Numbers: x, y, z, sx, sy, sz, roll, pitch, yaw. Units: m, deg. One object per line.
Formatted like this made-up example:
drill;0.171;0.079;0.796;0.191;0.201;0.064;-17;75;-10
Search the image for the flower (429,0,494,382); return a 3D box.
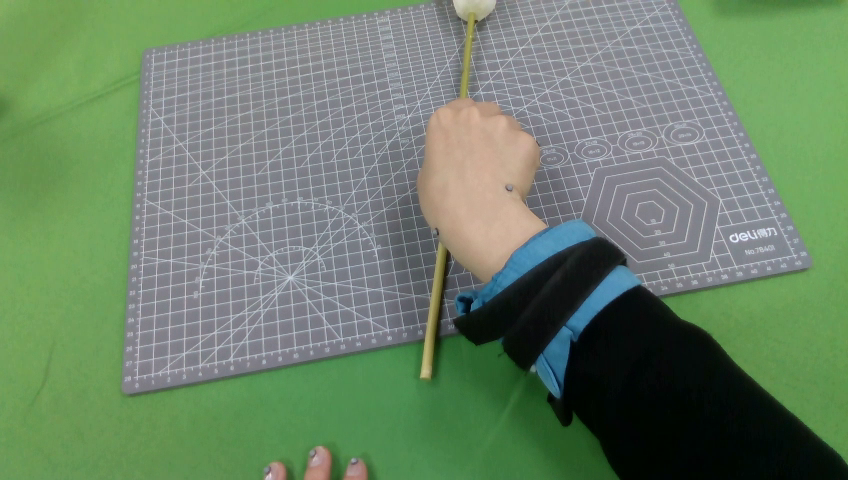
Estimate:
flower;0.025;-0.077;0.448;0.044;0.038;0.359;20;65;-32
